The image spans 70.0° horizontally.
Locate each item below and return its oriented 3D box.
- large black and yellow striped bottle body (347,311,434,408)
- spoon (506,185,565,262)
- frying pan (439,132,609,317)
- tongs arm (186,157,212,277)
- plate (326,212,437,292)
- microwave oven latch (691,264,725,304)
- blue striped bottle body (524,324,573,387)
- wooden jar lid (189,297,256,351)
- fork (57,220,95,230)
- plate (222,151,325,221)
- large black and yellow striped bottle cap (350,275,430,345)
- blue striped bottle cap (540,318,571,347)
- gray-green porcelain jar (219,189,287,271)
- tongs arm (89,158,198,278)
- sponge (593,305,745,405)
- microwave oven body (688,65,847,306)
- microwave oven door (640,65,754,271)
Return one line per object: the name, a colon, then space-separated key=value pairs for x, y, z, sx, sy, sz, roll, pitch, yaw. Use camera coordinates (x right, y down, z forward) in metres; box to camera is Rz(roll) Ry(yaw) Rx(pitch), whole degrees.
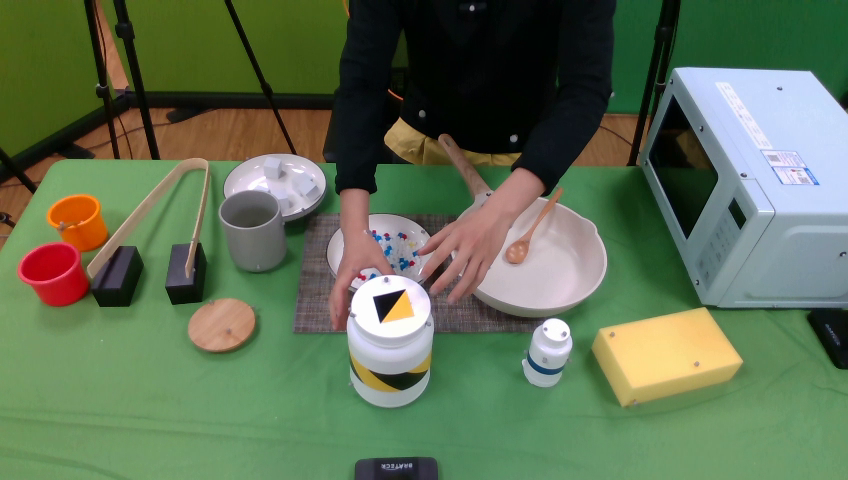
large black and yellow striped bottle body: x=-0.052 y=0.158 z=0.929 sx=0.131 sy=0.185 sz=0.130 roll=2 pitch=46 yaw=-2
spoon: x=0.224 y=-0.034 z=1.188 sx=0.041 sy=0.022 sz=0.193 roll=30 pitch=79 yaw=28
frying pan: x=0.149 y=-0.049 z=1.190 sx=0.307 sy=0.103 sz=0.484 roll=-17 pitch=58 yaw=-20
tongs arm: x=-0.445 y=-0.058 z=1.168 sx=0.051 sy=0.026 sz=0.382 roll=-5 pitch=37 yaw=-6
plate: x=-0.080 y=0.030 z=1.143 sx=0.209 sy=0.038 sz=0.208 roll=2 pitch=46 yaw=-2
microwave oven latch: x=0.521 y=0.081 z=1.116 sx=0.030 sy=0.029 sz=0.078 roll=0 pitch=46 yaw=-3
blue striped bottle body: x=0.201 y=0.178 z=0.970 sx=0.063 sy=0.121 sz=0.062 roll=2 pitch=46 yaw=-2
wooden jar lid: x=-0.342 y=0.145 z=1.033 sx=0.108 sy=0.021 sz=0.107 roll=2 pitch=45 yaw=-2
fork: x=-0.624 y=-0.027 z=1.086 sx=0.028 sy=0.207 sz=0.018 roll=-3 pitch=92 yaw=-17
plate: x=-0.310 y=-0.106 z=1.263 sx=0.208 sy=0.039 sz=0.206 roll=2 pitch=47 yaw=-2
large black and yellow striped bottle cap: x=-0.048 y=0.098 z=0.868 sx=0.115 sy=0.019 sz=0.114 roll=2 pitch=48 yaw=-2
blue striped bottle cap: x=0.203 y=0.142 z=0.933 sx=0.044 sy=0.021 sz=0.044 roll=3 pitch=49 yaw=-4
gray-green porcelain jar: x=-0.310 y=-0.014 z=1.114 sx=0.106 sy=0.127 sz=0.105 roll=2 pitch=46 yaw=-2
tongs arm: x=-0.529 y=-0.057 z=1.164 sx=0.028 sy=0.028 sz=0.385 roll=1 pitch=36 yaw=8
sponge: x=0.405 y=0.190 z=1.015 sx=0.207 sy=0.061 sz=0.117 roll=-10 pitch=48 yaw=-12
microwave oven body: x=0.669 y=-0.111 z=1.176 sx=0.326 sy=0.261 sz=0.439 roll=0 pitch=46 yaw=-3
microwave oven door: x=0.524 y=-0.148 z=1.193 sx=0.039 sy=0.245 sz=0.353 roll=0 pitch=47 yaw=-3
